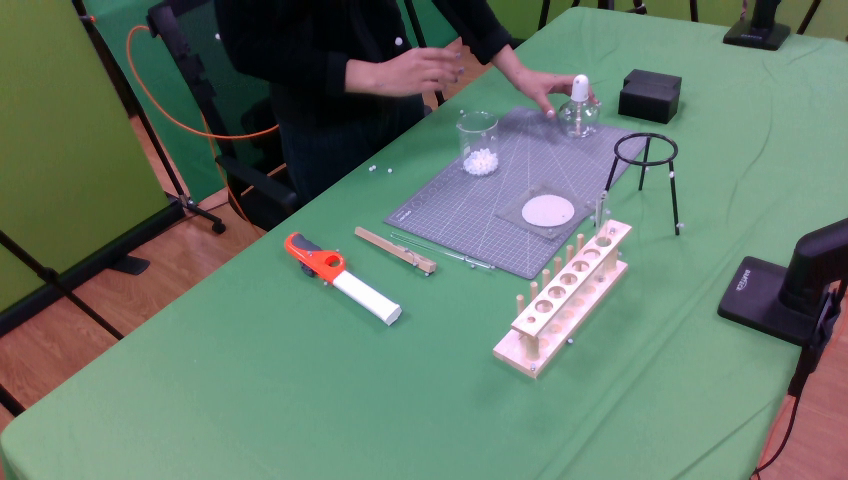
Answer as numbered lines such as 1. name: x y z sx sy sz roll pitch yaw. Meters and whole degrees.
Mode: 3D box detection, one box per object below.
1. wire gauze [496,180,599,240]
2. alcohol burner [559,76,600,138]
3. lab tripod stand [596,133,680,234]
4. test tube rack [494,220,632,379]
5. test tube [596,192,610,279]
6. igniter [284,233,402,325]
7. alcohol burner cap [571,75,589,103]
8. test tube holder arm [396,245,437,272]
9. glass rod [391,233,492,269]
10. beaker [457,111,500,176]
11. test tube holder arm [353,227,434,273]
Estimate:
1. wire gauze: 0.206 -0.050 1.012 0.125 0.011 0.120 -34 45 -26
2. alcohol burner: 0.298 -0.258 1.156 0.078 0.119 0.077 -4 39 4
3. lab tripod stand: 0.338 -0.090 0.940 0.148 0.132 0.147 -7 39 6
4. test tube rack: 0.191 0.068 0.818 0.066 0.085 0.243 25 51 35
5. test tube: 0.240 -0.002 0.814 0.017 0.151 0.017 -7 42 7
6. igniter: -0.136 0.054 0.942 0.274 0.025 0.057 30 63 37
7. alcohol burner cap: 0.294 -0.284 1.132 0.034 0.048 0.033 -5 46 5
8. test tube holder arm: -0.016 0.029 0.957 0.087 0.015 0.010 25 17 35
9. glass rod: 0.024 0.017 0.971 0.198 0.008 0.008 18 48 32
10. beaker: 0.104 -0.176 1.108 0.073 0.101 0.084 16 46 27
11. test tube holder arm: -0.053 0.014 0.978 0.177 0.015 0.013 25 16 34
